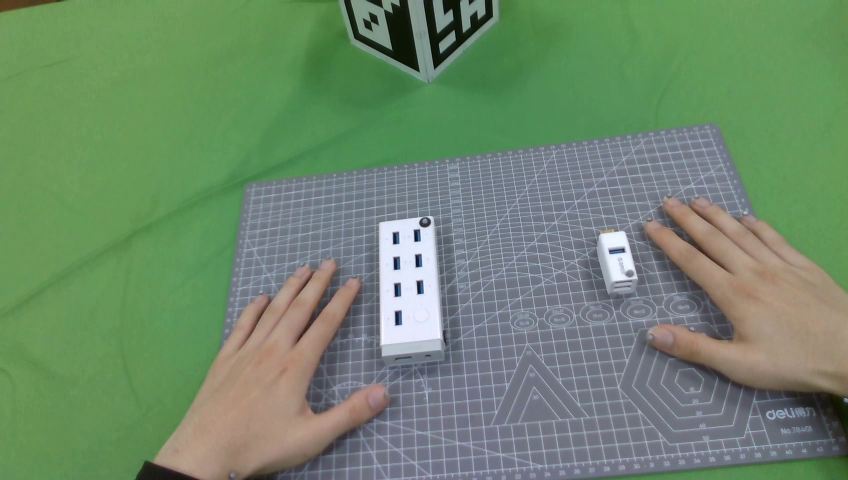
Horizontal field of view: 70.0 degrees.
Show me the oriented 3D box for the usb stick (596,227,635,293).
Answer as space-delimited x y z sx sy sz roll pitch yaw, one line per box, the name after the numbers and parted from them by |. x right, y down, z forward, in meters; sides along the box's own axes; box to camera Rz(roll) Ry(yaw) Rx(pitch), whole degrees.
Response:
0.151 0.011 0.485 0.021 0.027 0.058 -7 55 7 | usb stick

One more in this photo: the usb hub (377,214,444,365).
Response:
-0.012 0.038 0.494 0.049 0.025 0.124 -7 58 4 | usb hub
